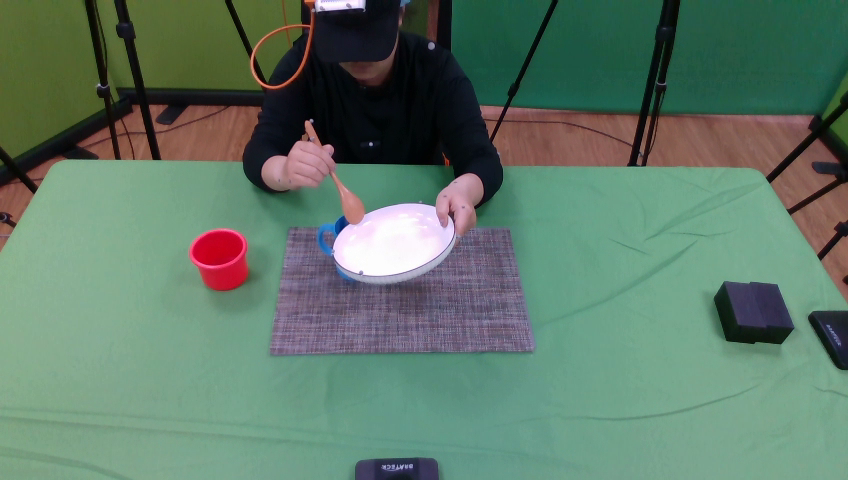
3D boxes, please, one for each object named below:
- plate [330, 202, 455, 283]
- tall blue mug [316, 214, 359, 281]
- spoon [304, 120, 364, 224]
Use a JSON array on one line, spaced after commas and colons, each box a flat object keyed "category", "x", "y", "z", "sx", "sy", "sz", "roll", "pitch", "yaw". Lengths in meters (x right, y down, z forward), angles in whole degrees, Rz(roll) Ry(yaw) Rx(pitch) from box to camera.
[{"category": "plate", "x": -0.050, "y": 0.007, "z": 0.999, "sx": 0.207, "sy": 0.039, "sz": 0.206, "roll": -8, "pitch": 34, "yaw": 6}, {"category": "tall blue mug", "x": -0.142, "y": 0.014, "z": 1.109, "sx": 0.107, "sy": 0.108, "sz": 0.077, "roll": -5, "pitch": 48, "yaw": -9}, {"category": "spoon", "x": -0.156, "y": -0.114, "z": 1.030, "sx": 0.041, "sy": 0.194, "sz": 0.021, "roll": -35, "pitch": 13, "yaw": -26}]
